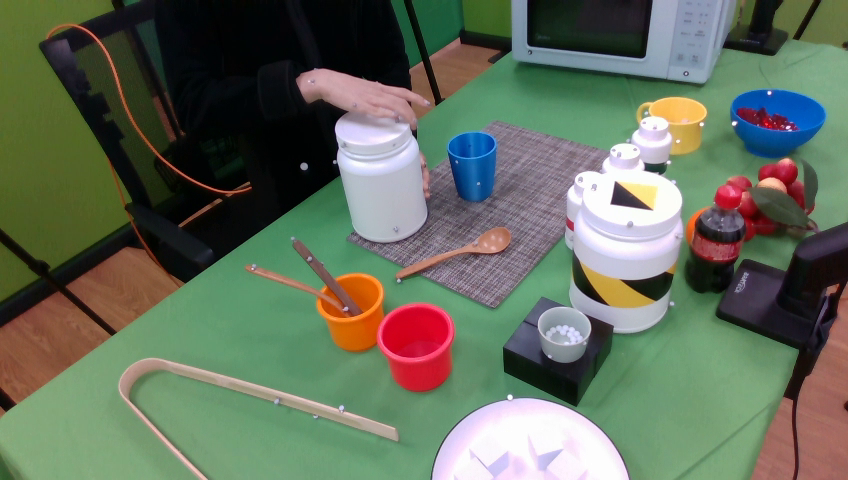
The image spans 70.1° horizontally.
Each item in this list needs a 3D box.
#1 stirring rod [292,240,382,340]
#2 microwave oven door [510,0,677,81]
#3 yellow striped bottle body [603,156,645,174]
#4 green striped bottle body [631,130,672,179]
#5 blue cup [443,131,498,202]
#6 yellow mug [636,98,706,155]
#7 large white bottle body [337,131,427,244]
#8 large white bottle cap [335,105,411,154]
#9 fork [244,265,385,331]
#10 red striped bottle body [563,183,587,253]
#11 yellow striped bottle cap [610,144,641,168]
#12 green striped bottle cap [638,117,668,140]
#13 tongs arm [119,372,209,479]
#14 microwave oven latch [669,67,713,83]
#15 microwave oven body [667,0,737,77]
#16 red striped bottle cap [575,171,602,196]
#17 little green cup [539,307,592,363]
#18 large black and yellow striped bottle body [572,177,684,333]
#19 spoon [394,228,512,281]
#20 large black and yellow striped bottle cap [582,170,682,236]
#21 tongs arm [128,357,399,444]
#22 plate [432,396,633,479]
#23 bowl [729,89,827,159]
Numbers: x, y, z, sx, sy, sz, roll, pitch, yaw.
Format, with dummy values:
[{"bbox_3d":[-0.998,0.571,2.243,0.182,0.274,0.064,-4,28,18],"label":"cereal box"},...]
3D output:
[{"bbox_3d":[-0.119,0.068,0.825,0.176,0.006,0.014,49,58,-3],"label":"stirring rod"},{"bbox_3d":[0.354,-0.478,1.291,0.353,0.245,0.039,15,45,25],"label":"microwave oven door"},{"bbox_3d":[0.313,-0.089,0.956,0.063,0.121,0.062,-4,40,4],"label":"yellow striped bottle body"},{"bbox_3d":[0.375,-0.140,1.007,0.063,0.120,0.063,-5,40,5],"label":"green striped bottle body"},{"bbox_3d":[0.087,-0.122,1.040,0.092,0.101,0.092,-5,42,5],"label":"blue cup"},{"bbox_3d":[0.453,-0.217,1.128,0.100,0.064,0.129,-34,46,-27],"label":"yellow mug"},{"bbox_3d":[-0.067,-0.101,0.974,0.130,0.185,0.130,-4,40,4],"label":"large white bottle body"},{"bbox_3d":[-0.077,-0.169,0.916,0.115,0.018,0.114,-2,42,2],"label":"large white bottle cap"},{"bbox_3d":[-0.142,0.078,0.806,0.209,0.018,0.028,30,32,-23],"label":"fork"},{"bbox_3d":[0.246,-0.041,0.910,0.063,0.120,0.062,-2,38,2],"label":"red striped bottle body"},{"bbox_3d":[0.307,-0.128,0.923,0.044,0.019,0.044,-6,40,5],"label":"yellow striped bottle cap"},{"bbox_3d":[0.369,-0.180,0.974,0.044,0.020,0.044,-4,41,4],"label":"green striped bottle cap"},{"bbox_3d":[-0.258,0.257,0.700,0.384,0.028,0.028,24,55,34],"label":"tongs arm"},{"bbox_3d":[0.556,-0.349,1.261,0.078,0.029,0.030,16,46,27],"label":"microwave oven latch"},{"bbox_3d":[0.462,-0.552,1.368,0.439,0.261,0.326,15,45,26],"label":"microwave oven body"},{"bbox_3d":[0.242,-0.081,0.876,0.044,0.018,0.044,-5,44,5],"label":"red striped bottle cap"},{"bbox_3d":[0.168,0.115,0.721,0.061,0.039,0.061,-4,42,4],"label":"little green cup"},{"bbox_3d":[0.262,0.017,0.788,0.131,0.185,0.130,-5,40,4],"label":"large black and yellow striped bottle body"},{"bbox_3d":[0.045,0.024,0.935,0.194,0.022,0.041,-18,66,-11],"label":"spoon"},{"bbox_3d":[0.252,-0.048,0.735,0.115,0.019,0.114,-3,40,3],"label":"large black and yellow striped bottle cap"},{"bbox_3d":[-0.213,0.205,0.755,0.382,0.026,0.051,12,46,23],"label":"tongs arm"},{"bbox_3d":[0.112,0.261,0.634,0.209,0.038,0.208,-5,40,4],"label":"plate"},{"bbox_3d":[0.615,-0.197,1.069,0.151,0.077,0.150,-5,40,5],"label":"bowl"}]
